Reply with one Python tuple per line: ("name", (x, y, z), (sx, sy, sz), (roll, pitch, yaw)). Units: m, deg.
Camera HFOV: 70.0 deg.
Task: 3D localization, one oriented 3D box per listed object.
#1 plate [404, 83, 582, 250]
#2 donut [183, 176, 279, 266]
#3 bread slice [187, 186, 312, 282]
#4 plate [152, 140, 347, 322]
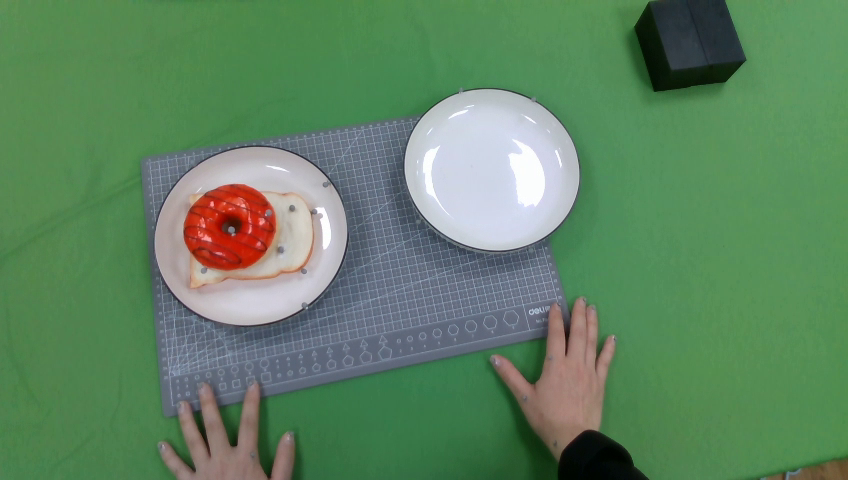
("plate", (0.079, -0.085, 0.714), (0.208, 0.039, 0.206), (1, 73, -3))
("donut", (-0.206, -0.020, 0.647), (0.099, 0.048, 0.098), (1, 74, -3))
("bread slice", (-0.194, -0.012, 0.674), (0.134, 0.018, 0.106), (-8, 75, -8))
("plate", (-0.189, -0.009, 0.674), (0.209, 0.038, 0.208), (1, 73, -4))
